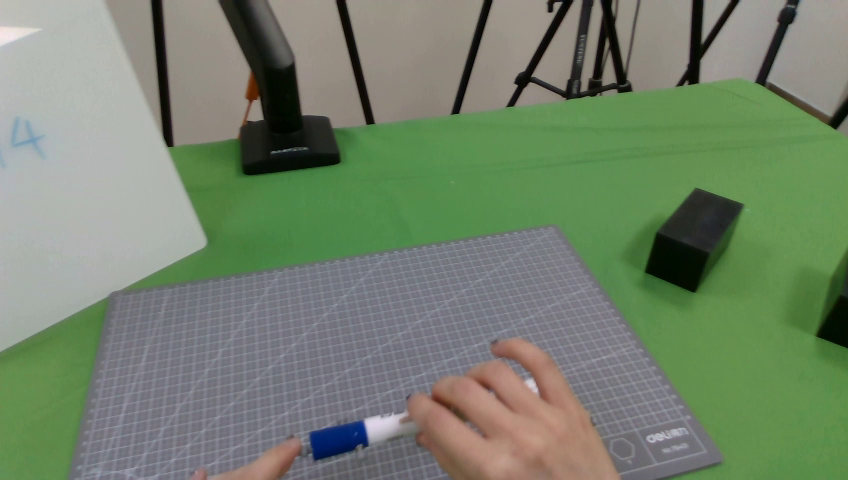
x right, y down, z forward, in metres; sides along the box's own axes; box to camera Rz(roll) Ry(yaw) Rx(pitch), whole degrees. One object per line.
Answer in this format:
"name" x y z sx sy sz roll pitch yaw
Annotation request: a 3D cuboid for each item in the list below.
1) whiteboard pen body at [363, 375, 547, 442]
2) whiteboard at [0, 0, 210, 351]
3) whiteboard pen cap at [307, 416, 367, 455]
"whiteboard pen body" 0.008 0.102 0.358 0.141 0.017 0.017 -9 39 -15
"whiteboard" -0.378 -0.093 0.552 0.142 0.308 0.217 12 36 46
"whiteboard pen cap" -0.048 0.111 0.343 0.033 0.018 0.018 -7 38 -16
